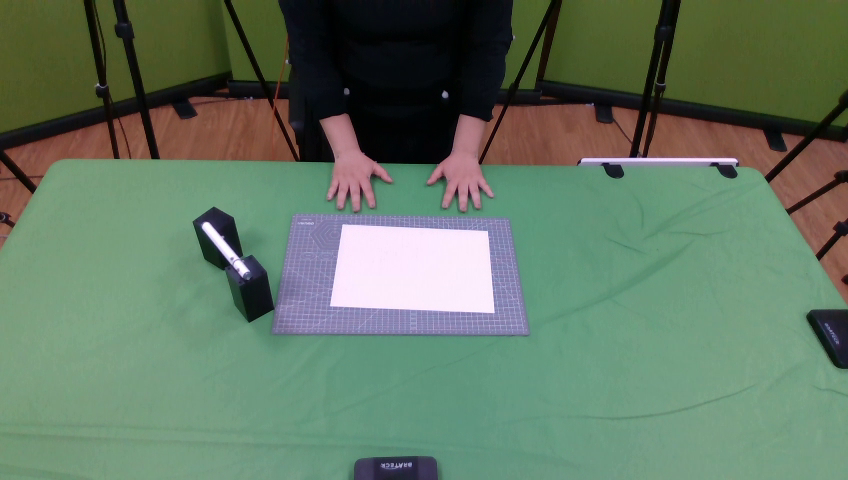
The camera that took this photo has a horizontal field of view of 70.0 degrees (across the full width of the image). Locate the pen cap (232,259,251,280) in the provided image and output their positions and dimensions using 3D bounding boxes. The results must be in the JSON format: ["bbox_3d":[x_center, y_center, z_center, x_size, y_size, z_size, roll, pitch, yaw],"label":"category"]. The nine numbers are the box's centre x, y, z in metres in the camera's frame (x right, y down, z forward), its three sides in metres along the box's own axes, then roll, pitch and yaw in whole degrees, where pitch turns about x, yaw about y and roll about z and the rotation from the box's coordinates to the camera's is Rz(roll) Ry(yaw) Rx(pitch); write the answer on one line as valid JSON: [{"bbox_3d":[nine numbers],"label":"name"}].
[{"bbox_3d":[-0.298,0.048,0.991,0.017,0.017,0.038,-29,55,-29],"label":"pen cap"}]

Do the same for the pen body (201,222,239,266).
[{"bbox_3d":[-0.338,0.014,1.023,0.017,0.017,0.143,-29,53,-28],"label":"pen body"}]
